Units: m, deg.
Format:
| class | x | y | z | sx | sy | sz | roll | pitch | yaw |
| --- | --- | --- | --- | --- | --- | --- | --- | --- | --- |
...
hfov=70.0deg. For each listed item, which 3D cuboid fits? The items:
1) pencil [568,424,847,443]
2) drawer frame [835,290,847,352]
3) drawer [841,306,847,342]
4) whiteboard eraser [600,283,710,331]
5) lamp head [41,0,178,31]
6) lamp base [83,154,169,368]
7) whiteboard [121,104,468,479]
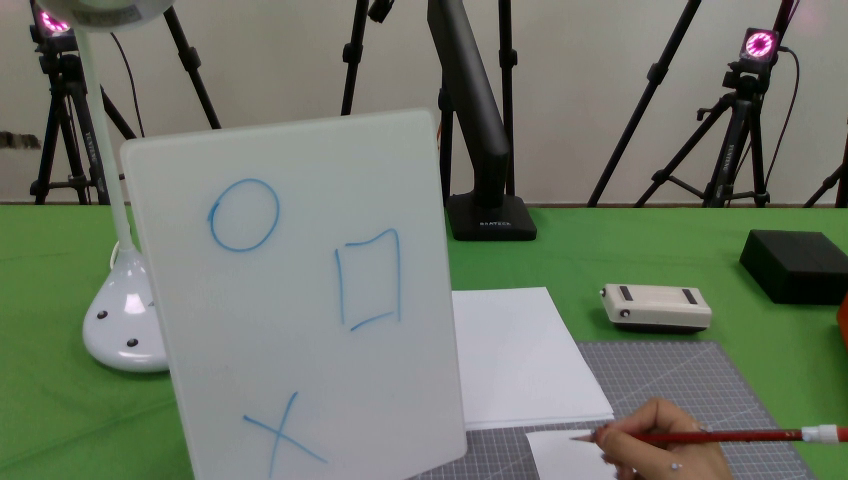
| class | x | y | z | sx | sy | sz | roll | pitch | yaw |
| --- | --- | --- | --- | --- | --- | --- | --- | --- | --- |
| pencil | 0.193 | 0.139 | 0.434 | 0.193 | 0.012 | 0.012 | -14 | 19 | 36 |
| drawer frame | 0.550 | 0.136 | 0.602 | 0.201 | 0.083 | 0.212 | 12 | 32 | 15 |
| drawer | 0.550 | 0.138 | 0.600 | 0.194 | 0.074 | 0.211 | 13 | 32 | 16 |
| whiteboard eraser | 0.267 | 0.079 | 0.705 | 0.113 | 0.042 | 0.055 | 4 | 32 | 0 |
| lamp head | -0.244 | -0.230 | 0.436 | 0.112 | 0.113 | 0.122 | -24 | 65 | -37 |
| lamp base | -0.285 | 0.011 | 0.621 | 0.178 | 0.181 | 0.160 | 22 | 36 | 31 |
| whiteboard | -0.101 | 0.052 | 0.510 | 0.218 | 0.307 | 0.142 | -12 | 16 | -22 |
